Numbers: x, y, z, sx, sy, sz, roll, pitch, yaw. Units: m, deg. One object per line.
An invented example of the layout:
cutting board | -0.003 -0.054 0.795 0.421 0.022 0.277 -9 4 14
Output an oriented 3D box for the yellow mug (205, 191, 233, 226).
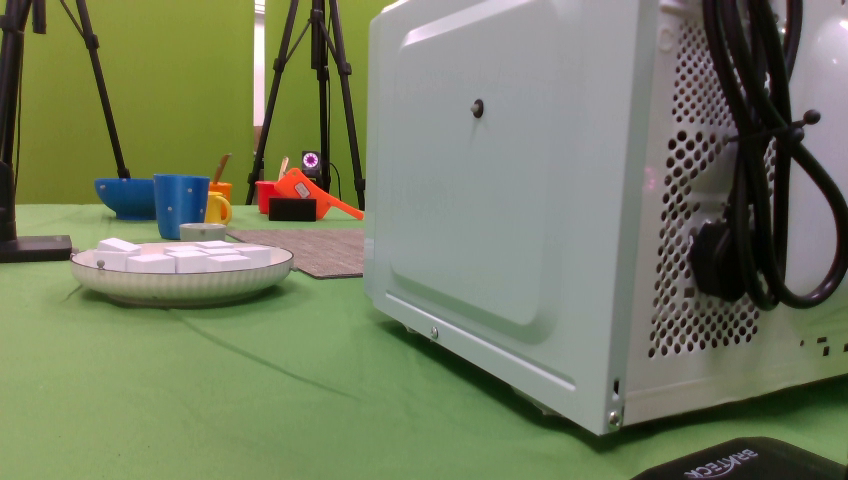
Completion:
yellow mug | -0.415 -0.057 1.131 0.130 0.064 0.100 6 8 16

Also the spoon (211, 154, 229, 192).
spoon | -0.431 -0.115 1.253 0.042 0.193 0.021 -3 53 -33

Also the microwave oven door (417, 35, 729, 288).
microwave oven door | 0.170 -0.076 0.646 0.357 0.243 0.039 0 8 -19

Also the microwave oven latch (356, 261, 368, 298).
microwave oven latch | -0.019 0.033 0.529 0.079 0.029 0.030 0 7 -25

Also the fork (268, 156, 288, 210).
fork | -0.360 -0.144 1.508 0.028 0.018 0.207 1 49 0

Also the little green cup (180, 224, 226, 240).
little green cup | -0.308 -0.001 0.846 0.061 0.038 0.061 2 8 0

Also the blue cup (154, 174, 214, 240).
blue cup | -0.391 -0.053 0.978 0.093 0.100 0.092 3 6 0

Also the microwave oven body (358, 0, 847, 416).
microwave oven body | 0.211 -0.047 0.474 0.444 0.260 0.324 -1 7 -28

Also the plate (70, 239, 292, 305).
plate | -0.242 0.031 0.618 0.208 0.039 0.207 2 8 0

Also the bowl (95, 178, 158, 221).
bowl | -0.576 -0.081 1.217 0.151 0.077 0.151 3 8 0

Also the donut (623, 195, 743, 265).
donut | 0.221 -0.008 0.520 0.099 0.048 0.099 17 10 -3

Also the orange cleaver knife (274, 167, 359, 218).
orange cleaver knife | -0.238 -0.091 1.381 0.212 0.077 0.012 31 0 -19
